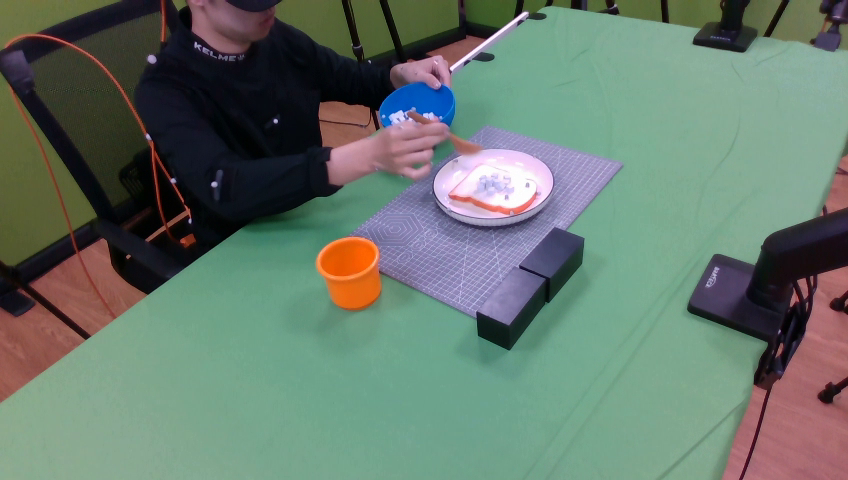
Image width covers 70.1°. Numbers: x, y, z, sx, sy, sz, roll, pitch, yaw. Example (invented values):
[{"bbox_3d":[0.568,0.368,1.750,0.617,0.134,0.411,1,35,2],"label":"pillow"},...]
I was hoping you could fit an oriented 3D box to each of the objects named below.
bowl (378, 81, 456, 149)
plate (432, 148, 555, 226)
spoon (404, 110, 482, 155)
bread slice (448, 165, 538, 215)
[{"bbox_3d":[-0.006,-0.229,1.170,0.151,0.077,0.150,-8,49,10],"label":"bowl"},{"bbox_3d":[0.119,-0.087,1.037,0.209,0.038,0.208,-4,40,4],"label":"plate"},{"bbox_3d":[0.031,-0.168,0.951,0.041,0.195,0.021,-16,66,35],"label":"spoon"},{"bbox_3d":[0.126,-0.085,1.038,0.133,0.018,0.107,17,45,27],"label":"bread slice"}]
